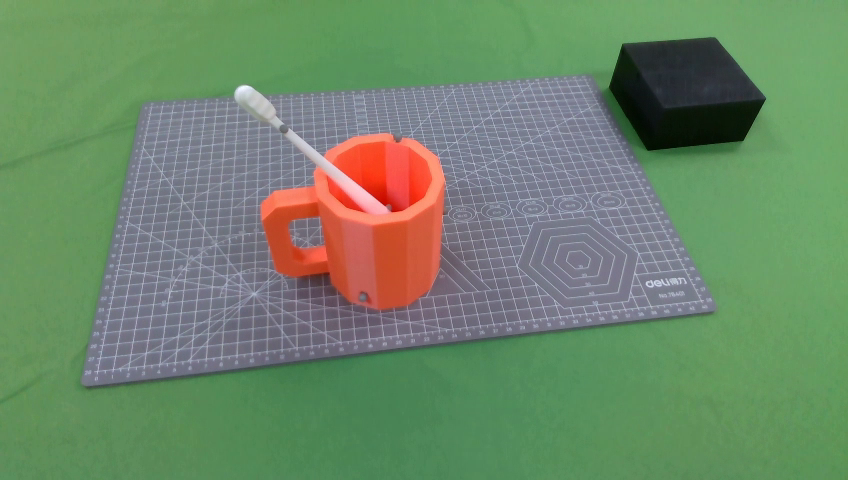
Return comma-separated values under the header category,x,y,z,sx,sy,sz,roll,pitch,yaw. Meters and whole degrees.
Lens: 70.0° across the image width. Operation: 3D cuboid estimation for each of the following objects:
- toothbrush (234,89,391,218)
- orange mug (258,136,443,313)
category,x,y,z,sx,sy,sz,roll,pitch,yaw
toothbrush,-0.052,-0.035,0.401,0.016,0.184,0.014,13,67,48
orange mug,-0.049,-0.008,0.428,0.126,0.101,0.082,-6,51,-13
